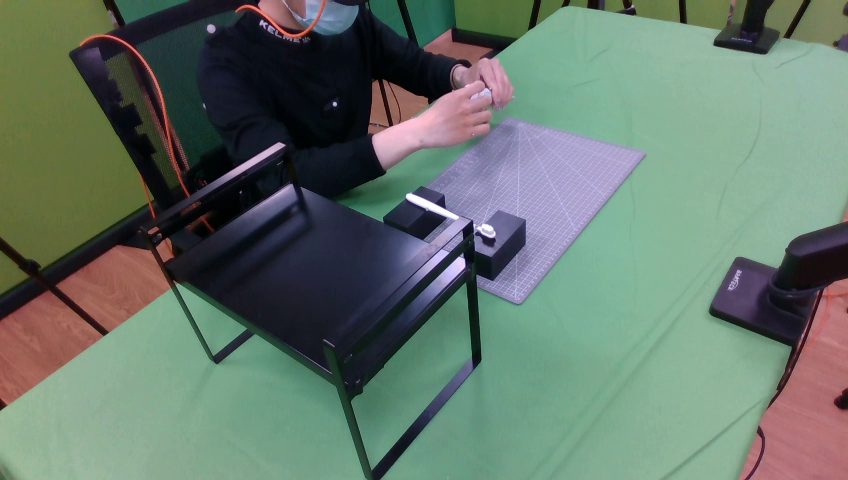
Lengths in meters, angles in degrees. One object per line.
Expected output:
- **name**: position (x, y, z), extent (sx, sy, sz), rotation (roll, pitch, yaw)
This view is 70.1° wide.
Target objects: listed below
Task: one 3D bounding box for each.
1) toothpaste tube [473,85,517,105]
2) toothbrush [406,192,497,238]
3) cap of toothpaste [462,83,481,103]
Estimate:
- **toothpaste tube**: position (0.125, -0.274, 1.156), extent (0.055, 0.034, 0.166), rotation (-8, 3, 29)
- **toothbrush**: position (0.038, -0.043, 0.937), extent (0.180, 0.017, 0.014), rotation (26, 66, 35)
- **cap of toothpaste**: position (0.085, -0.264, 1.088), extent (0.037, 0.037, 0.011), rotation (16, 15, 24)
